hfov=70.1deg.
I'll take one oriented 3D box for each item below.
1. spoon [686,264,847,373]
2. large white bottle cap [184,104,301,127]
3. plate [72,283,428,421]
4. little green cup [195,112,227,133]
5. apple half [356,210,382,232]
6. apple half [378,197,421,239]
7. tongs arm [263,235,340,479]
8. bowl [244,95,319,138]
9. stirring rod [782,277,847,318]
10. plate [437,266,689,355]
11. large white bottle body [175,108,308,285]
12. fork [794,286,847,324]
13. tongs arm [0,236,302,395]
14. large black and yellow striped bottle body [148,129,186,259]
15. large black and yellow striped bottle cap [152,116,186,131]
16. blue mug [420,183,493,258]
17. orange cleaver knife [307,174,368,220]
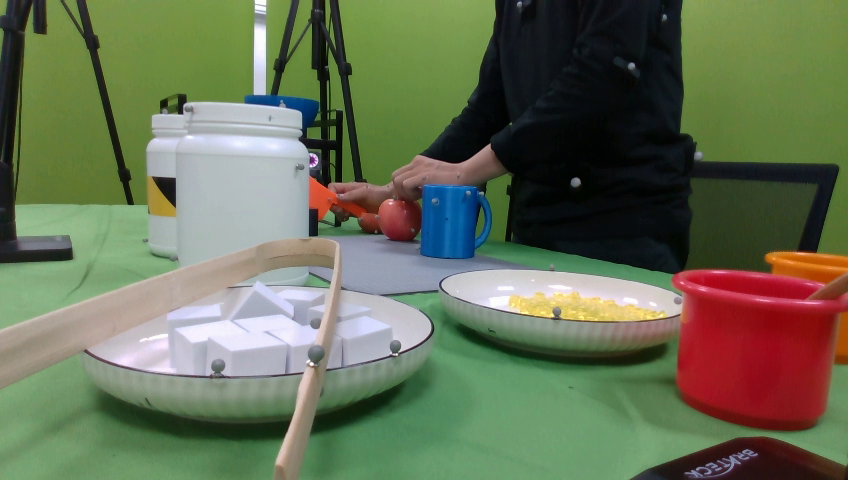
[{"bbox_3d":[0.214,0.032,0.327,0.042,0.021,0.193,-2,-35,-25],"label":"spoon"},{"bbox_3d":[-0.184,-0.126,0.618,0.115,0.018,0.115,2,8,0],"label":"large white bottle cap"},{"bbox_3d":[-0.102,0.066,0.381,0.208,0.039,0.207,2,7,0],"label":"plate"},{"bbox_3d":[-0.412,-0.227,1.171,0.061,0.038,0.061,3,8,0],"label":"little green cup"},{"bbox_3d":[-0.095,-0.031,1.169,0.081,0.033,0.081,10,-12,2],"label":"apple half"},{"bbox_3d":[-0.036,-0.037,1.055,0.081,0.074,0.053,3,11,-28],"label":"apple half"},{"bbox_3d":[-0.074,0.039,0.349,0.051,0.026,0.384,-2,9,-3],"label":"tongs arm"},{"bbox_3d":[-0.293,-0.251,1.249,0.151,0.077,0.151,2,8,0],"label":"bowl"},{"bbox_3d":[0.345,0.019,0.460,0.014,0.006,0.176,-13,-27,-30],"label":"stirring rod"},{"bbox_3d":[0.114,0.057,0.517,0.209,0.038,0.209,3,7,0],"label":"plate"},{"bbox_3d":[-0.188,-0.042,0.630,0.131,0.184,0.130,2,8,0],"label":"large white bottle body"},{"bbox_3d":[0.332,0.018,0.442,0.028,0.018,0.207,-1,-36,-15],"label":"fork"},{"bbox_3d":[-0.158,0.038,0.351,0.028,0.028,0.388,-3,8,12],"label":"tongs arm"},{"bbox_3d":[-0.310,-0.073,0.838,0.131,0.184,0.130,2,8,0],"label":"large black and yellow striped bottle body"},{"bbox_3d":[-0.309,-0.155,0.826,0.115,0.019,0.115,3,6,0],"label":"large black and yellow striped bottle cap"},{"bbox_3d":[0.052,-0.032,0.912,0.117,0.106,0.082,-1,8,-24],"label":"blue mug"},{"bbox_3d":[-0.197,-0.078,1.139,0.212,0.077,0.012,31,-11,-36],"label":"orange cleaver knife"}]
